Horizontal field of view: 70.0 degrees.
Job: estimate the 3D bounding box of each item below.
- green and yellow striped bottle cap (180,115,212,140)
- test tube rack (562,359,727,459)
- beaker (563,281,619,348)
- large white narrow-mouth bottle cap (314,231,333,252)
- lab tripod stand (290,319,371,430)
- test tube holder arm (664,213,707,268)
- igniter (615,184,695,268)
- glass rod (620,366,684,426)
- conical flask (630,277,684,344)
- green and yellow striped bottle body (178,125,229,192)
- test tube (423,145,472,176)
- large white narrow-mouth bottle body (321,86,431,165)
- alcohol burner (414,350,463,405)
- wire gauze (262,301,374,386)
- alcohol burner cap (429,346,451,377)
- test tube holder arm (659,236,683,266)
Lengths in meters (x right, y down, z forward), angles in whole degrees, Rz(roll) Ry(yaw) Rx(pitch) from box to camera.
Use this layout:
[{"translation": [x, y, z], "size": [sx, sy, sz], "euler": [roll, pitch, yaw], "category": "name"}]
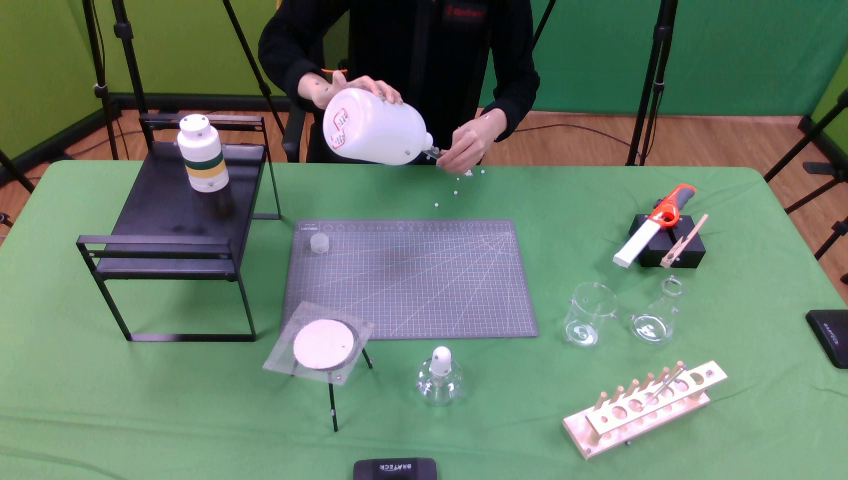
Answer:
[{"translation": [-0.358, -0.177, 0.951], "size": [0.045, 0.020, 0.045], "euler": [2, 45, -2], "category": "green and yellow striped bottle cap"}, {"translation": [0.341, 0.247, 0.940], "size": [0.243, 0.085, 0.066], "euler": [-16, 49, -18], "category": "test tube rack"}, {"translation": [0.283, 0.129, 1.041], "size": [0.074, 0.101, 0.083], "euler": [11, 46, 6], "category": "beaker"}, {"translation": [-0.195, 0.003, 1.178], "size": [0.038, 0.024, 0.037], "euler": [2, 45, -2], "category": "large white narrow-mouth bottle cap"}, {"translation": [-0.146, 0.193, 0.923], "size": [0.148, 0.132, 0.147], "euler": [1, 47, -1], "category": "lab tripod stand"}, {"translation": [0.507, -0.001, 1.171], "size": [0.013, 0.015, 0.178], "euler": [34, 54, 26], "category": "test tube holder arm"}, {"translation": [0.459, -0.035, 1.197], "size": [0.057, 0.025, 0.276], "euler": [33, 55, 27], "category": "igniter"}, {"translation": [0.323, 0.227, 0.866], "size": [0.008, 0.200, 0.008], "euler": [5, 51, -7], "category": "glass rod"}, {"translation": [0.408, 0.117, 1.045], "size": [0.075, 0.122, 0.075], "euler": [2, 46, -2], "category": "conical flask"}, {"translation": [-0.361, -0.142, 0.989], "size": [0.063, 0.120, 0.063], "euler": [2, 46, -2], "category": "green and yellow striped bottle body"}, {"translation": [0.044, -0.143, 1.087], "size": [0.151, 0.017, 0.017], "euler": [20, 24, -52], "category": "test tube"}, {"translation": [-0.059, -0.171, 0.953], "size": [0.195, 0.102, 0.101], "euler": [5, 34, -50], "category": "large white narrow-mouth bottle body"}, {"translation": [0.023, 0.205, 0.939], "size": [0.078, 0.120, 0.077], "euler": [1, 48, -1], "category": "alcohol burner"}, {"translation": [-0.150, 0.148, 0.873], "size": [0.121, 0.011, 0.124], "euler": [14, 46, 12], "category": "wire gauze"}, {"translation": [0.026, 0.180, 0.912], "size": [0.034, 0.048, 0.033], "euler": [1, 47, -1], "category": "alcohol burner cap"}, {"translation": [0.472, 0.020, 1.149], "size": [0.010, 0.015, 0.088], "euler": [35, 54, 27], "category": "test tube holder arm"}]
